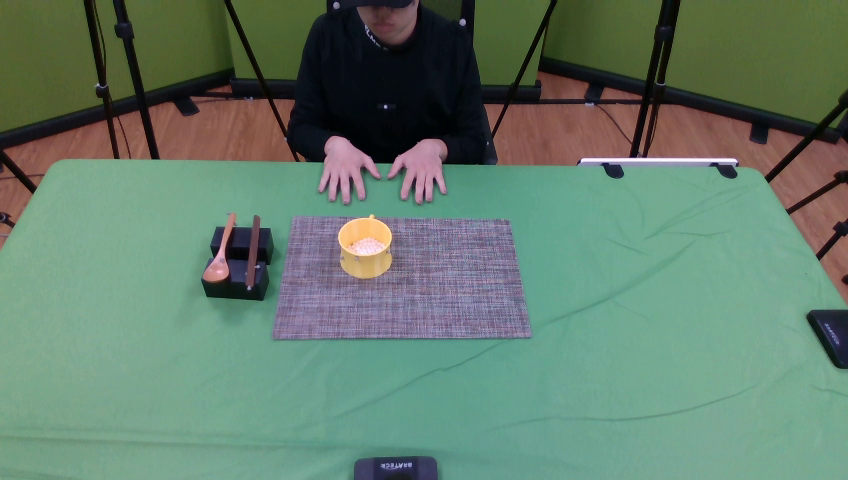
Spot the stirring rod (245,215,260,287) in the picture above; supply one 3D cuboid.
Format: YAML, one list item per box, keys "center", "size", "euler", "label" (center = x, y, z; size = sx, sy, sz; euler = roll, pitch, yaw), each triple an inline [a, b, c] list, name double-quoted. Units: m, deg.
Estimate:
- center: [-0.310, 0.016, 1.096]
  size: [0.014, 0.006, 0.175]
  euler: [27, 36, -32]
  label: "stirring rod"

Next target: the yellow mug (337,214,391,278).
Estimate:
- center: [-0.110, 0.003, 1.152]
  size: [0.100, 0.064, 0.130]
  euler: [7, 45, 2]
  label: "yellow mug"

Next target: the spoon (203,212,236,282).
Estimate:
- center: [-0.361, 0.009, 1.097]
  size: [0.041, 0.022, 0.192]
  euler: [0, 44, -2]
  label: "spoon"
